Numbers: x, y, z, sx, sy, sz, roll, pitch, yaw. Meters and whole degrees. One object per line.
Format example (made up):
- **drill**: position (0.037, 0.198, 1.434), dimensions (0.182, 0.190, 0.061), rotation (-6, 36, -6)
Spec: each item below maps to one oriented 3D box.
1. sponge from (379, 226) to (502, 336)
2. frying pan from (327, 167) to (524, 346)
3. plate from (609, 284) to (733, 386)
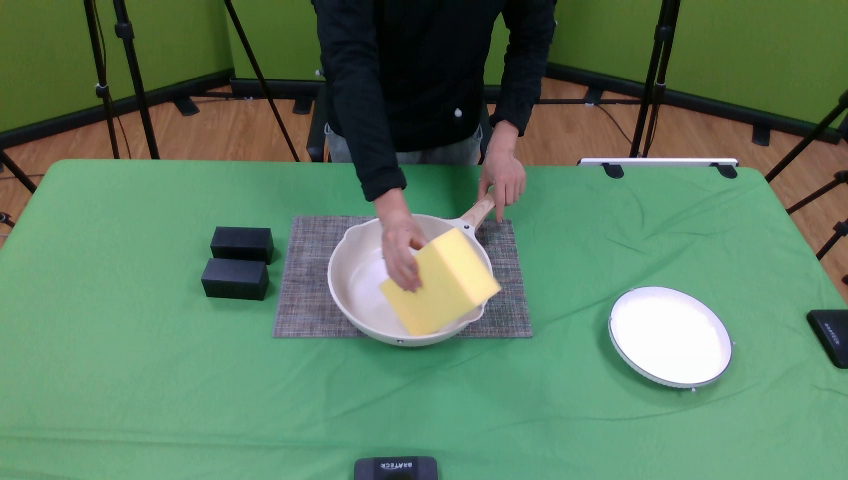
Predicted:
- **sponge**: position (0.019, 0.076, 0.974), dimensions (0.061, 0.207, 0.118), rotation (-31, 84, -35)
- **frying pan**: position (0.042, 0.009, 1.132), dimensions (0.305, 0.103, 0.487), rotation (34, 61, 24)
- **plate**: position (0.425, 0.167, 1.059), dimensions (0.208, 0.039, 0.206), rotation (2, 46, -2)
